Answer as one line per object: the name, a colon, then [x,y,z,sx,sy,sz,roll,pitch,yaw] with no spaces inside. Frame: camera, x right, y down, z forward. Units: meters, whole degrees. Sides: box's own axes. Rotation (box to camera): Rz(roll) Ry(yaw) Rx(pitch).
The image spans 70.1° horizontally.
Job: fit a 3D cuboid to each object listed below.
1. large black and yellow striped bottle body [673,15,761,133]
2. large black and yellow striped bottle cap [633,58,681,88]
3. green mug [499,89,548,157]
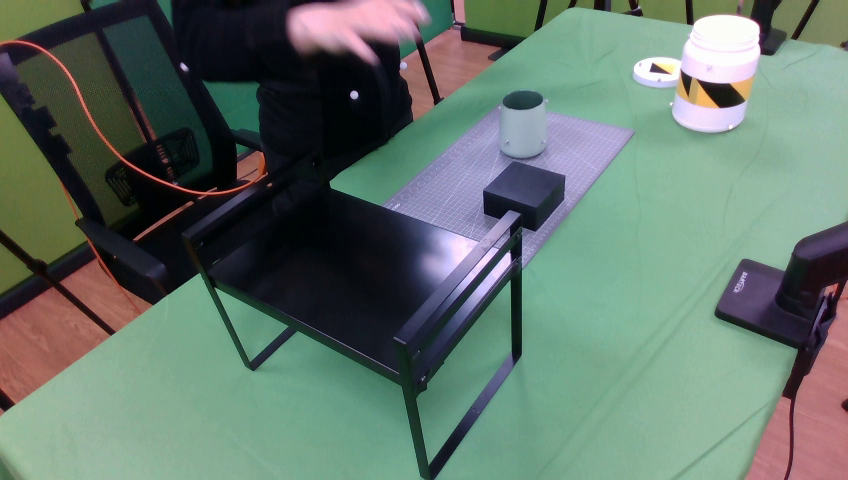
large black and yellow striped bottle body: [0.546,-0.309,1.128,0.131,0.185,0.130,-4,41,4]
large black and yellow striped bottle cap: [0.521,-0.370,1.332,0.115,0.019,0.114,-3,41,3]
green mug: [0.195,-0.228,1.145,0.092,0.105,0.125,14,45,24]
